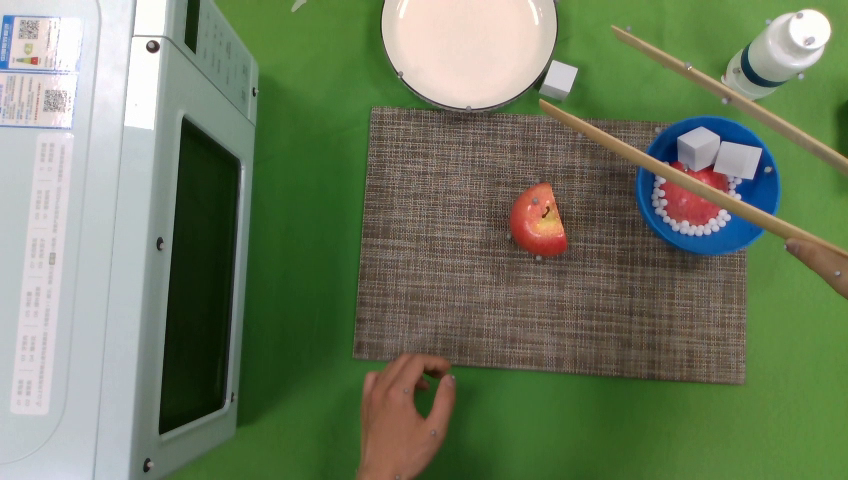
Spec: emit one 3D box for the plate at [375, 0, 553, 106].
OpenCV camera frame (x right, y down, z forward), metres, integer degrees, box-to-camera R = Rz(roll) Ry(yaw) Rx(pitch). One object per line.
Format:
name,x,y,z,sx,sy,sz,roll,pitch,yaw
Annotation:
plate,0.046,-0.257,0.722,0.208,0.039,0.207,0,85,1

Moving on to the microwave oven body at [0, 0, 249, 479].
microwave oven body,-0.367,-0.019,0.590,0.326,0.260,0.440,2,85,0

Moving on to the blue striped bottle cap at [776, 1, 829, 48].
blue striped bottle cap,0.388,-0.221,0.620,0.044,0.020,0.044,0,86,1

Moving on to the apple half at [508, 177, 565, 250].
apple half,0.121,-0.025,0.677,0.053,0.075,0.080,-16,88,3

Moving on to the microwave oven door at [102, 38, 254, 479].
microwave oven door,-0.222,0.026,0.579,0.039,0.244,0.355,1,84,2

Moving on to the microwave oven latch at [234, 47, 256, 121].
microwave oven latch,-0.211,-0.180,0.700,0.030,0.029,0.079,2,85,1

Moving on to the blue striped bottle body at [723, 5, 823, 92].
blue striped bottle body,0.389,-0.214,0.670,0.063,0.121,0.063,0,84,1

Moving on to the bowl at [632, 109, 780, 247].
bowl,0.299,-0.062,0.675,0.151,0.077,0.151,0,84,1

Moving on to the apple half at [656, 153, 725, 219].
apple half,0.300,-0.061,0.670,0.081,0.033,0.081,0,83,1

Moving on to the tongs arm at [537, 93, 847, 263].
tongs arm,0.246,-0.070,0.570,0.028,0.028,0.383,-47,49,-3

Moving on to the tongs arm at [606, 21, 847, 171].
tongs arm,0.289,-0.115,0.565,0.051,0.027,0.380,-44,50,4
